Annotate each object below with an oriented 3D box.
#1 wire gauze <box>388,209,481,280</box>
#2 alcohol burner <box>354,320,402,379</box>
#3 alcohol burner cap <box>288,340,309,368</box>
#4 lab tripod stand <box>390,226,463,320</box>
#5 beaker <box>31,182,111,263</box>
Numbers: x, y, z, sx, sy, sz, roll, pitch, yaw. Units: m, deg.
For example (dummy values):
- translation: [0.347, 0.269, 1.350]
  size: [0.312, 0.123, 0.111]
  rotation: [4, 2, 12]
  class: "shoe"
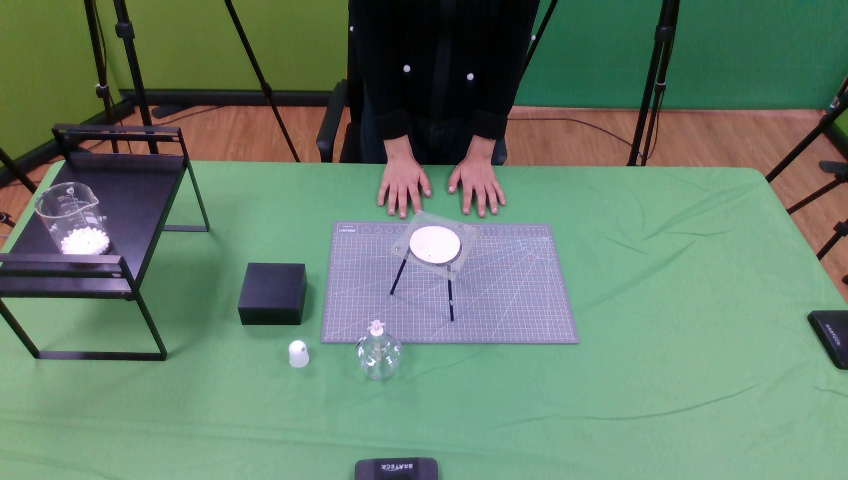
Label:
- translation: [0.018, 0.002, 1.019]
  size: [0.125, 0.011, 0.121]
  rotation: [21, 49, 17]
  class: "wire gauze"
- translation: [-0.074, 0.169, 0.964]
  size: [0.078, 0.120, 0.077]
  rotation: [1, 46, -1]
  class: "alcohol burner"
- translation: [-0.207, 0.183, 0.991]
  size: [0.034, 0.048, 0.033]
  rotation: [3, 47, -3]
  class: "alcohol burner cap"
- translation: [0.014, 0.053, 1.063]
  size: [0.148, 0.132, 0.147]
  rotation: [1, 48, -1]
  class: "lab tripod stand"
- translation: [-0.502, -0.022, 0.877]
  size: [0.084, 0.101, 0.073]
  rotation: [-2, 47, -7]
  class: "beaker"
